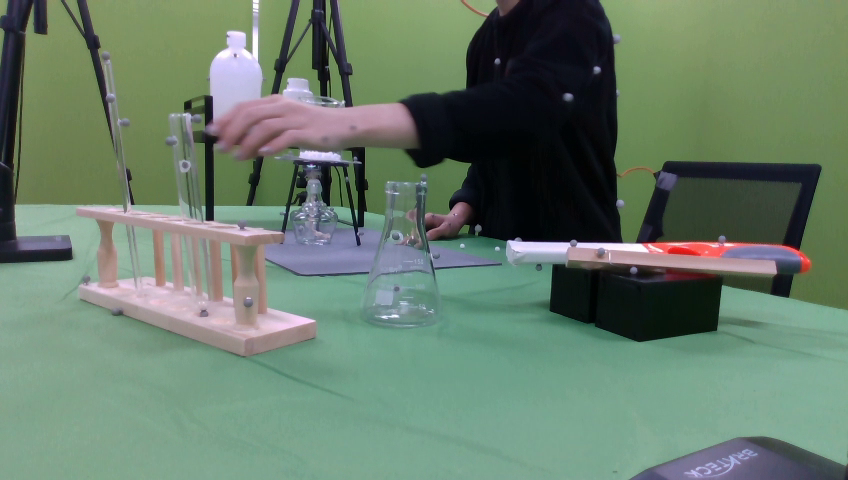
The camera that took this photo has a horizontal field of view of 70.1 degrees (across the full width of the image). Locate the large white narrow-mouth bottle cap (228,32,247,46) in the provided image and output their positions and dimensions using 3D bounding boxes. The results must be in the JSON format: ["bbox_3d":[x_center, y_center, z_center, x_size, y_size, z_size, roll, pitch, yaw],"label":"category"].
[{"bbox_3d":[-0.364,-0.391,1.180,0.038,0.024,0.037,3,8,0],"label":"large white narrow-mouth bottle cap"}]

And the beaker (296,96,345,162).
[{"bbox_3d":[-0.163,-0.175,0.966,0.083,0.100,0.074,8,8,34],"label":"beaker"}]

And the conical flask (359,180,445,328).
[{"bbox_3d":[-0.017,0.010,0.522,0.075,0.122,0.075,2,7,0],"label":"conical flask"}]

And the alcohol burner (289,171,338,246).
[{"bbox_3d":[-0.177,-0.051,0.968,0.078,0.119,0.078,1,6,0],"label":"alcohol burner"}]

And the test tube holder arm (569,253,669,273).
[{"bbox_3d":[0.172,0.019,0.532,0.088,0.015,0.010,3,-24,3],"label":"test tube holder arm"}]

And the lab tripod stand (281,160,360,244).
[{"bbox_3d":[-0.170,-0.063,0.983,0.148,0.131,0.148,1,6,0],"label":"lab tripod stand"}]

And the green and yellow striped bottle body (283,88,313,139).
[{"bbox_3d":[-0.266,-0.275,1.275,0.063,0.119,0.063,2,7,0],"label":"green and yellow striped bottle body"}]

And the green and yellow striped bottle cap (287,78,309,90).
[{"bbox_3d":[-0.265,-0.326,1.268,0.045,0.020,0.045,4,6,0],"label":"green and yellow striped bottle cap"}]

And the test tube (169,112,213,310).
[{"bbox_3d":[-0.175,-0.020,0.455,0.017,0.150,0.017,-3,9,1],"label":"test tube"}]

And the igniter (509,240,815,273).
[{"bbox_3d":[0.220,0.015,0.566,0.277,0.025,0.057,2,16,0],"label":"igniter"}]

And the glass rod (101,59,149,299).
[{"bbox_3d":[-0.244,-0.045,0.496,0.008,0.199,0.008,-3,13,1],"label":"glass rod"}]

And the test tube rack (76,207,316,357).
[{"bbox_3d":[-0.196,0.023,0.499,0.241,0.085,0.067,8,9,36],"label":"test tube rack"}]

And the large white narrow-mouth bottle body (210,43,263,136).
[{"bbox_3d":[-0.369,-0.305,1.194,0.102,0.194,0.102,3,8,0],"label":"large white narrow-mouth bottle body"}]

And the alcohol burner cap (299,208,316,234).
[{"bbox_3d":[-0.213,-0.035,1.110,0.034,0.048,0.034,3,6,0],"label":"alcohol burner cap"}]

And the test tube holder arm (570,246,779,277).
[{"bbox_3d":[0.217,0.020,0.525,0.178,0.015,0.013,3,-24,3],"label":"test tube holder arm"}]

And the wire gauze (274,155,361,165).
[{"bbox_3d":[-0.174,-0.129,0.978,0.125,0.011,0.121,-2,6,-19],"label":"wire gauze"}]
